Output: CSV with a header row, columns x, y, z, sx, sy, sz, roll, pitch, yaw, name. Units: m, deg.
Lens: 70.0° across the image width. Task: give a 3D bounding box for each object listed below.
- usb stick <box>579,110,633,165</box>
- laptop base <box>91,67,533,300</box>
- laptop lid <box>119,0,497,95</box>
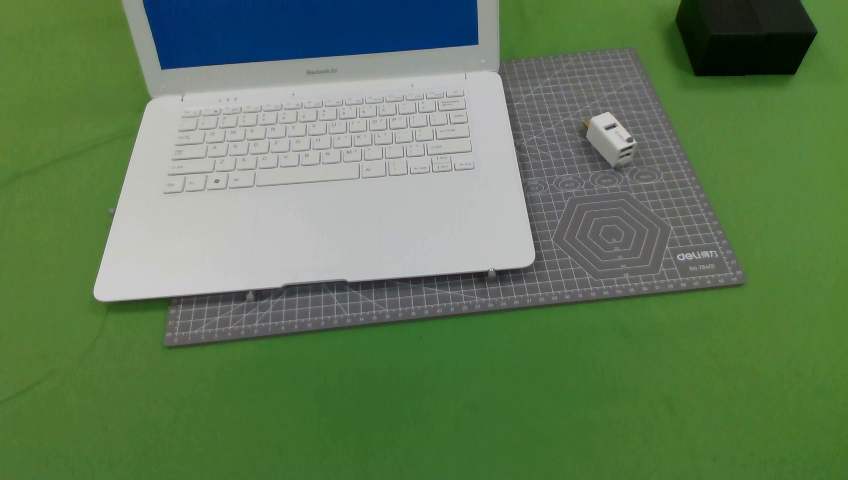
x,y,z,sx,sy,sz,roll,pitch,yaw,name
0.163,-0.098,0.551,0.021,0.027,0.058,-22,53,-11,usb stick
-0.095,-0.059,0.544,0.354,0.023,0.233,-5,57,0,laptop base
-0.110,-0.256,0.554,0.357,0.243,0.013,-6,29,0,laptop lid
